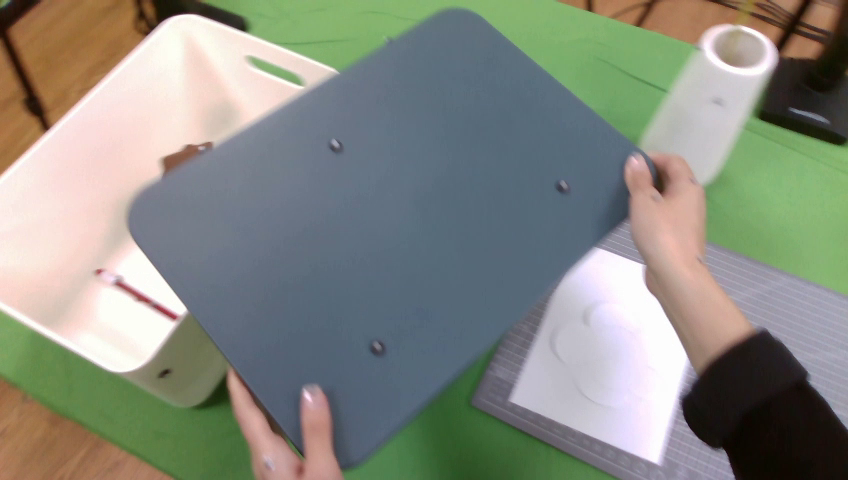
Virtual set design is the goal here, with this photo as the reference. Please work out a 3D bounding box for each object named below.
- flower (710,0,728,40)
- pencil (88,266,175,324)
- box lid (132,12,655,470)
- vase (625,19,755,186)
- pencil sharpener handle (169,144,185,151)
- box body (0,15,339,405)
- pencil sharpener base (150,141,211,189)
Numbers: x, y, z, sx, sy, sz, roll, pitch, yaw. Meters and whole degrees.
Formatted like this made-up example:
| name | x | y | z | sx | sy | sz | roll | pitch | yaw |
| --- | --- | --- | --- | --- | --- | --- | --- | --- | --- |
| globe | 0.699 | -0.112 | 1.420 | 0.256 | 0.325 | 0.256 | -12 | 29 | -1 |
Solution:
| name | x | y | z | sx | sy | sz | roll | pitch | yaw |
| --- | --- | --- | --- | --- | --- | --- | --- | --- | --- |
| flower | 0.295 | -0.203 | 0.622 | 0.044 | 0.365 | 0.038 | 16 | 45 | 14 |
| pencil | -0.299 | 0.078 | 0.671 | 0.193 | 0.012 | 0.012 | 29 | 65 | 13 |
| box lid | -0.011 | -0.032 | 0.493 | 0.371 | 0.015 | 0.261 | -38 | 74 | -20 |
| vase | 0.297 | -0.149 | 0.688 | 0.098 | 0.201 | 0.097 | -1 | 59 | 2 |
| pencil sharpener handle | -0.275 | -0.094 | 0.696 | 0.036 | 0.068 | 0.030 | -25 | 62 | -7 |
| box body | -0.264 | -0.036 | 0.654 | 0.253 | 0.162 | 0.362 | 23 | 64 | 14 |
| pencil sharpener base | -0.253 | -0.048 | 0.684 | 0.061 | 0.108 | 0.076 | -23 | 62 | -11 |
